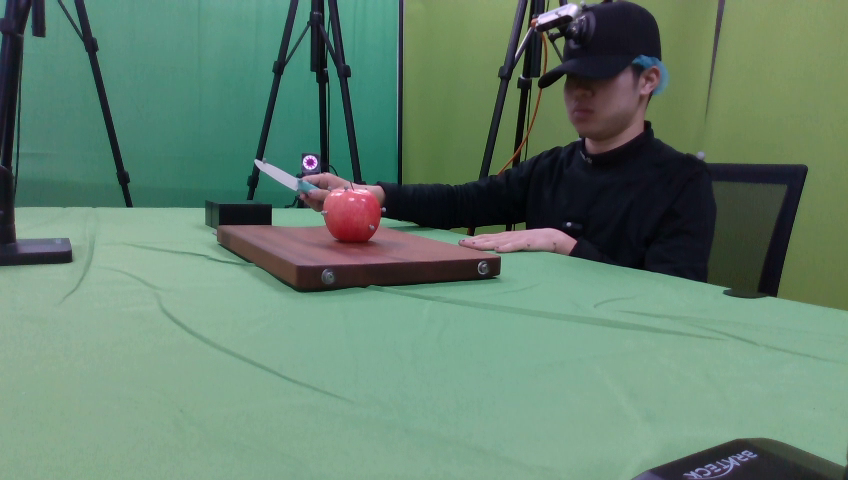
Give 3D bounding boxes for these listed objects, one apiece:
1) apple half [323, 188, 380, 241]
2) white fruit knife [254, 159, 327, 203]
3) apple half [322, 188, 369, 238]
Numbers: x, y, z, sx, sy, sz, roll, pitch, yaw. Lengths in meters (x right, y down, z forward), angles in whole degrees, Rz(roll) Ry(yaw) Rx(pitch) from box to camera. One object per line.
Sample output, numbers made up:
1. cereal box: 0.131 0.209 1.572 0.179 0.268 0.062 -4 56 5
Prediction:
1. apple half: -0.094 -0.034 0.839 0.081 0.074 0.053 1 11 -41
2. white fruit knife: -0.239 -0.106 1.143 0.016 0.027 0.208 13 -11 41
3. apple half: -0.119 -0.040 0.868 0.082 0.081 0.032 -4 14 -41
